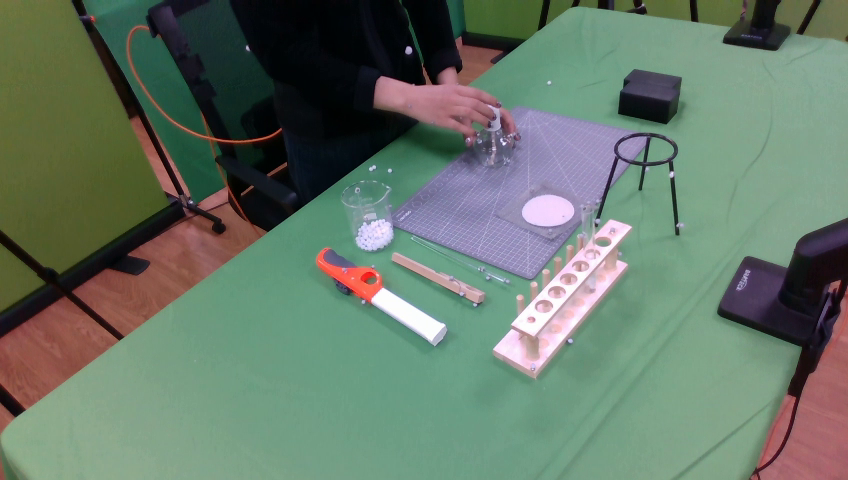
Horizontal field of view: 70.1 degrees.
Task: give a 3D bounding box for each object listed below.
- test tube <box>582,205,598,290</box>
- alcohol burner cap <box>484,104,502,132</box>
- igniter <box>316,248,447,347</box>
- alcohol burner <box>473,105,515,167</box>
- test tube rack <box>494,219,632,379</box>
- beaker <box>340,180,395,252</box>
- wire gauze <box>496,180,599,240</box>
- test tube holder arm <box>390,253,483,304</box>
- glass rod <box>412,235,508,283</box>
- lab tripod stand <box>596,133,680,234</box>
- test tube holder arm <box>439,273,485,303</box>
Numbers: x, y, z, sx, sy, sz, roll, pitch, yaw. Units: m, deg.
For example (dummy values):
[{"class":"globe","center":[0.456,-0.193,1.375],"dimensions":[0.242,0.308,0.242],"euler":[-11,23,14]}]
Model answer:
[{"class":"test tube","center":[0.220,0.014,0.798],"dimensions":[0.017,0.151,0.017],"euler":[-9,43,9]},{"class":"alcohol burner cap","center":[0.124,-0.223,1.092],"dimensions":[0.034,0.048,0.033],"euler":[-4,45,4]},{"class":"igniter","center":[-0.074,0.078,0.901],"dimensions":[0.274,0.025,0.057],"euler":[29,64,36]},{"class":"alcohol burner","center":[0.128,-0.196,1.116],"dimensions":[0.078,0.119,0.077],"euler":[-4,39,4]},{"class":"test tube rack","center":[0.191,0.068,0.818],"dimensions":[0.066,0.085,0.243],"euler":[25,51,35]},{"class":"beaker","center":[-0.086,-0.037,0.985],"dimensions":[0.084,0.101,0.073],"euler":[-18,41,-11]},{"class":"wire gauze","center":[0.206,-0.050,1.012],"dimensions":[0.125,0.011,0.120],"euler":[-34,45,-26]},{"class":"test tube holder arm","center":[0.015,0.055,0.916],"dimensions":[0.177,0.015,0.013],"euler":[24,16,33]},{"class":"glass rod","center":[0.051,0.028,0.951],"dimensions":[0.198,0.008,0.008],"euler":[25,51,37]},{"class":"lab tripod stand","center":[0.338,-0.091,0.940],"dimensions":[0.148,0.132,0.147],"euler":[-7,39,6]},{"class":"test tube holder arm","center":[0.053,0.070,0.896],"dimensions":[0.087,0.015,0.010],"euler":[24,16,34]}]
